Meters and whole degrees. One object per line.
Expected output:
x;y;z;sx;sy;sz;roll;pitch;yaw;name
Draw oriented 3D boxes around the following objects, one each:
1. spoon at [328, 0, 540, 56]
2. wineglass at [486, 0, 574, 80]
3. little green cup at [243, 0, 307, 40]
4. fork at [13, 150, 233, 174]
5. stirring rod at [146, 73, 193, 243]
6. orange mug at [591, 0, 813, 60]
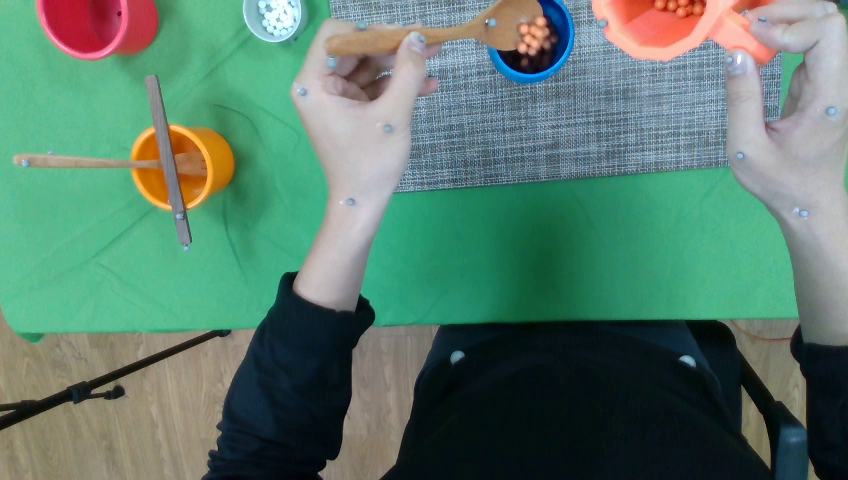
0.016;-0.144;0.411;0.021;0.194;0.042;36;132;29;spoon
0.092;-0.181;0.543;0.073;0.171;0.074;2;105;7;wineglass
-0.152;-0.239;0.630;0.061;0.038;0.062;2;106;7;little green cup
-0.306;-0.083;0.635;0.208;0.018;0.028;-4;117;-37;fork
-0.263;-0.082;0.628;0.014;0.006;0.177;-4;105;9;stirring rod
0.182;-0.166;0.391;0.125;0.101;0.084;46;147;18;orange mug
